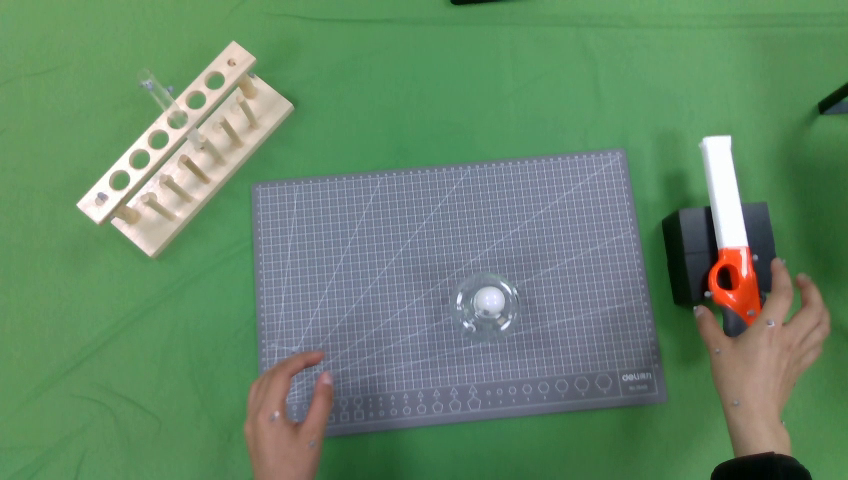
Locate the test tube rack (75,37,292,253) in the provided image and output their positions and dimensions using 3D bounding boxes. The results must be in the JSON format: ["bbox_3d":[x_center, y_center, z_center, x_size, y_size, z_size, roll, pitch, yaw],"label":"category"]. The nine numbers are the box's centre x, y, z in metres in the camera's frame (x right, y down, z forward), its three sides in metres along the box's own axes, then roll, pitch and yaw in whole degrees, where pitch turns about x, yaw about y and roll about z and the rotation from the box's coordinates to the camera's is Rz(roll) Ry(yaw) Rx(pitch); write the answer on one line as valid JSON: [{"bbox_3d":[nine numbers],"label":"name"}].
[{"bbox_3d":[-0.263,-0.105,0.686,0.066,0.085,0.242,39,81,8],"label":"test tube rack"}]

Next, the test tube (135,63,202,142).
[{"bbox_3d":[-0.265,-0.141,0.643,0.017,0.151,0.017,0,74,0],"label":"test tube"}]

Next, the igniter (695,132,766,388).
[{"bbox_3d":[0.327,0.016,0.649,0.057,0.025,0.275,-3,77,2],"label":"igniter"}]

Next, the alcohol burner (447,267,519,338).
[{"bbox_3d":[0.064,0.064,0.639,0.078,0.119,0.077,0,77,-1],"label":"alcohol burner"}]

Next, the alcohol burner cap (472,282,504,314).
[{"bbox_3d":[0.065,0.057,0.604,0.034,0.048,0.033,-1,82,4],"label":"alcohol burner cap"}]
